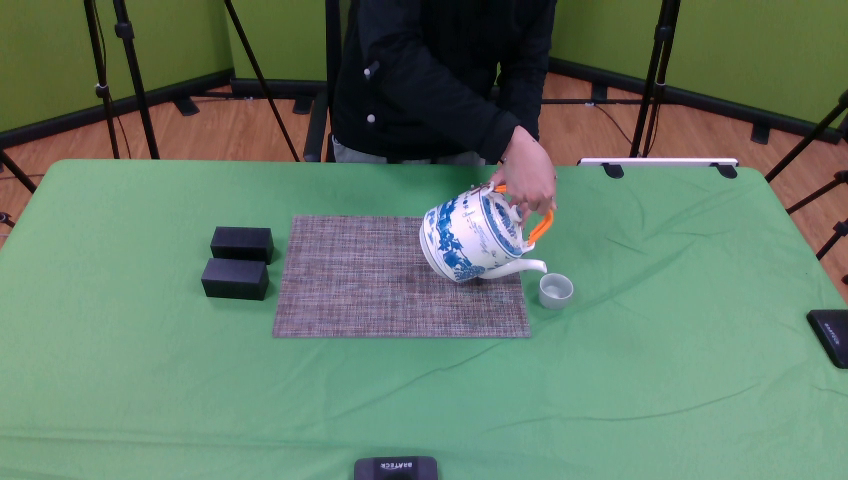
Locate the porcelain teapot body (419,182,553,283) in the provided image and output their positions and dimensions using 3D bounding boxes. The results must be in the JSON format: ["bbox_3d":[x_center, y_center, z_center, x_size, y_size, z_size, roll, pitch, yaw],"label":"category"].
[{"bbox_3d":[0.131,-0.004,1.064,0.225,0.206,0.144,-25,28,27],"label":"porcelain teapot body"}]

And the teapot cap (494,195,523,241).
[{"bbox_3d":[0.145,-0.039,1.031,0.044,0.085,0.084,-23,39,27],"label":"teapot cap"}]

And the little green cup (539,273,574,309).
[{"bbox_3d":[0.241,0.096,1.113,0.061,0.039,0.061,3,47,-2],"label":"little green cup"}]
